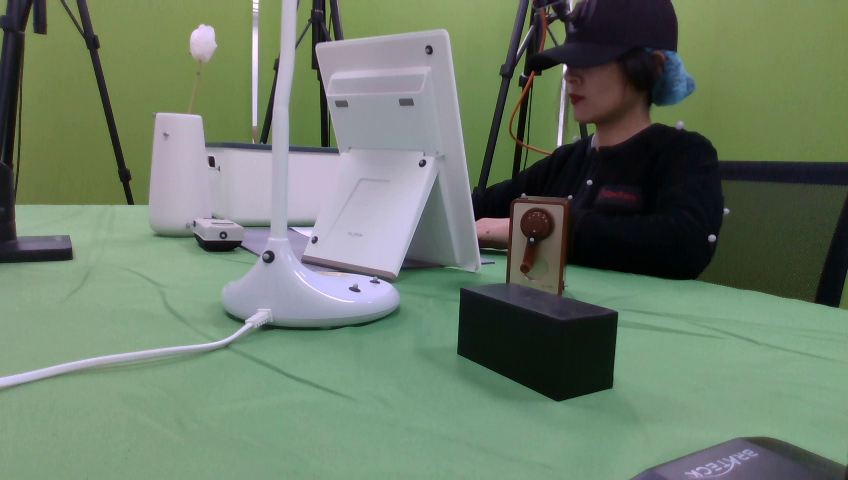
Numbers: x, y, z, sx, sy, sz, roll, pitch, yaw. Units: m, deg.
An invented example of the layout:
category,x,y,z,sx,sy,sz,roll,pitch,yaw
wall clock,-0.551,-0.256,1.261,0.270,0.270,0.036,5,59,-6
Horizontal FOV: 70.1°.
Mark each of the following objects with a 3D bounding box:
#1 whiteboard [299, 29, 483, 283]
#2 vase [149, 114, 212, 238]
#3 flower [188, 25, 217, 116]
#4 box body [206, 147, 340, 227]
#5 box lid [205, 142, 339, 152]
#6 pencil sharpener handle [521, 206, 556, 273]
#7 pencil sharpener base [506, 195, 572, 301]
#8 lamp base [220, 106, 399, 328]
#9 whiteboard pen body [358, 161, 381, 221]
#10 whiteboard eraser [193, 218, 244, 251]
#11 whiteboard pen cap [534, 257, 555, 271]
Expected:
category,x,y,z,sx,sy,sz,roll,pitch,yaw
whiteboard,-0.074,-0.082,0.741,0.216,0.305,0.144,9,29,38
vase,-0.405,-0.106,1.005,0.098,0.200,0.098,2,6,0
flower,-0.394,-0.189,1.011,0.044,0.361,0.038,-1,-13,28
box body,-0.276,-0.122,1.320,0.366,0.160,0.253,-2,9,-30
box lid,-0.270,-0.196,1.310,0.373,0.015,0.262,-2,9,-30
pencil sharpener handle,0.111,0.000,0.613,0.036,0.067,0.031,13,10,14
pencil sharpener base,0.127,0.007,0.663,0.061,0.107,0.077,5,8,15
lamp base,-0.102,-0.023,0.531,0.160,0.180,0.179,4,10,10
whiteboard pen body,-0.102,-0.090,1.112,0.017,0.140,0.017,9,-34,7
whiteboard eraser,-0.307,-0.010,0.900,0.056,0.042,0.112,-4,11,-28
whiteboard pen cap,0.166,0.033,0.839,0.018,0.018,0.033,-1,6,-23
